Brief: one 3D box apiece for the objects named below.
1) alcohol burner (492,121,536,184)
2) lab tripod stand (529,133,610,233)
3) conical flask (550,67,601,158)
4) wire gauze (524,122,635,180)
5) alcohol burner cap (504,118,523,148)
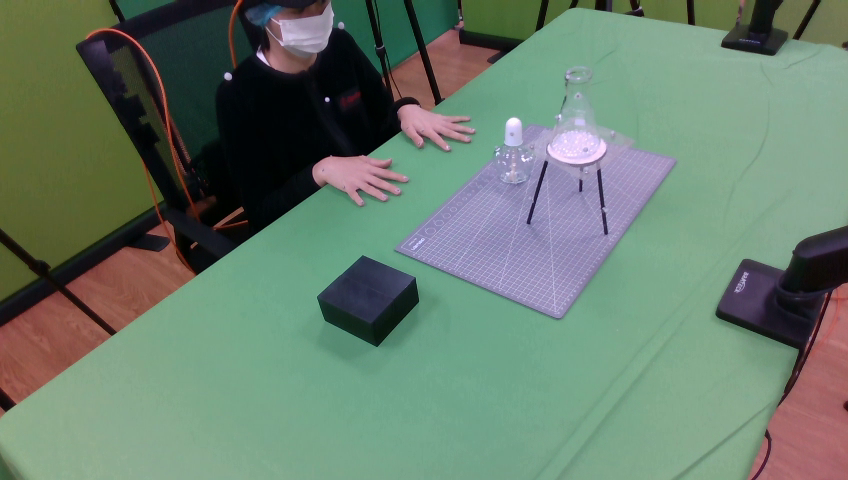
[{"bbox_3d":[0.159,-0.158,1.064,0.078,0.119,0.077,-3,41,3],"label":"alcohol burner"},{"bbox_3d":[0.236,-0.089,0.953,0.148,0.132,0.147,-5,42,5],"label":"lab tripod stand"},{"bbox_3d":[0.221,-0.186,0.875,0.075,0.122,0.075,-5,40,5],"label":"conical flask"},{"bbox_3d":[0.233,-0.142,0.913,0.122,0.011,0.124,-31,42,-26],"label":"wire gauze"},{"bbox_3d":[0.154,-0.186,1.042,0.034,0.048,0.033,-4,33,3],"label":"alcohol burner cap"}]
